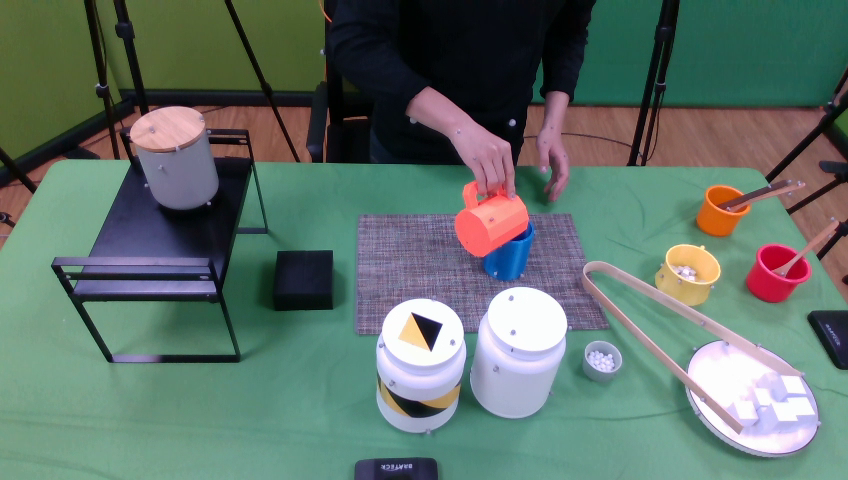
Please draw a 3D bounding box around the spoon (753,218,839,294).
[{"bbox_3d":[0.700,0.031,1.138,0.194,0.022,0.041,-47,54,14],"label":"spoon"}]

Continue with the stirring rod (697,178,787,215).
[{"bbox_3d":[0.650,-0.088,1.246,0.006,0.176,0.014,29,50,-39],"label":"stirring rod"}]

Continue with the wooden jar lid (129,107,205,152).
[{"bbox_3d":[-0.385,-0.163,0.914,0.108,0.021,0.107,2,47,-2],"label":"wooden jar lid"}]

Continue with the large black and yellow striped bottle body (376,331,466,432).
[{"bbox_3d":[-0.007,0.189,0.905,0.131,0.185,0.130,2,46,-2],"label":"large black and yellow striped bottle body"}]

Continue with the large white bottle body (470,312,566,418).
[{"bbox_3d":[0.143,0.174,0.930,0.131,0.185,0.130,2,46,-2],"label":"large white bottle body"}]

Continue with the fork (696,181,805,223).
[{"bbox_3d":[0.659,-0.077,1.232,0.207,0.019,0.028,-26,35,34],"label":"fork"}]

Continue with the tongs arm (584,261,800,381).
[{"bbox_3d":[0.452,0.137,1.064,0.051,0.027,0.382,-34,50,-27],"label":"tongs arm"}]

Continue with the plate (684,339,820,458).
[{"bbox_3d":[0.523,0.256,0.982,0.208,0.039,0.206,2,46,-2],"label":"plate"}]

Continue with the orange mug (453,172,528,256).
[{"bbox_3d":[0.109,-0.048,1.028,0.101,0.126,0.083,-25,19,-34],"label":"orange mug"}]

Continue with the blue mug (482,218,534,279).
[{"bbox_3d":[0.141,0.005,1.140,0.116,0.106,0.082,18,48,13],"label":"blue mug"}]

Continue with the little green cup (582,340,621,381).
[{"bbox_3d":[0.295,0.204,1.015,0.061,0.039,0.061,2,45,-2],"label":"little green cup"}]

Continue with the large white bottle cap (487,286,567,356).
[{"bbox_3d":[0.147,0.114,0.869,0.115,0.018,0.114,3,46,-3],"label":"large white bottle cap"}]

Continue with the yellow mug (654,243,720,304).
[{"bbox_3d":[0.504,0.054,1.154,0.099,0.064,0.130,28,50,22],"label":"yellow mug"}]

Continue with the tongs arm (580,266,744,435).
[{"bbox_3d":[0.384,0.173,1.028,0.028,0.028,0.385,-25,46,-15],"label":"tongs arm"}]

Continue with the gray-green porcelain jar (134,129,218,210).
[{"bbox_3d":[-0.389,-0.120,0.960,0.106,0.127,0.105,2,46,-2],"label":"gray-green porcelain jar"}]

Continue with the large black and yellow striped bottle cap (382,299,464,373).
[{"bbox_3d":[-0.002,0.132,0.843,0.115,0.019,0.114,2,46,-2],"label":"large black and yellow striped bottle cap"}]
